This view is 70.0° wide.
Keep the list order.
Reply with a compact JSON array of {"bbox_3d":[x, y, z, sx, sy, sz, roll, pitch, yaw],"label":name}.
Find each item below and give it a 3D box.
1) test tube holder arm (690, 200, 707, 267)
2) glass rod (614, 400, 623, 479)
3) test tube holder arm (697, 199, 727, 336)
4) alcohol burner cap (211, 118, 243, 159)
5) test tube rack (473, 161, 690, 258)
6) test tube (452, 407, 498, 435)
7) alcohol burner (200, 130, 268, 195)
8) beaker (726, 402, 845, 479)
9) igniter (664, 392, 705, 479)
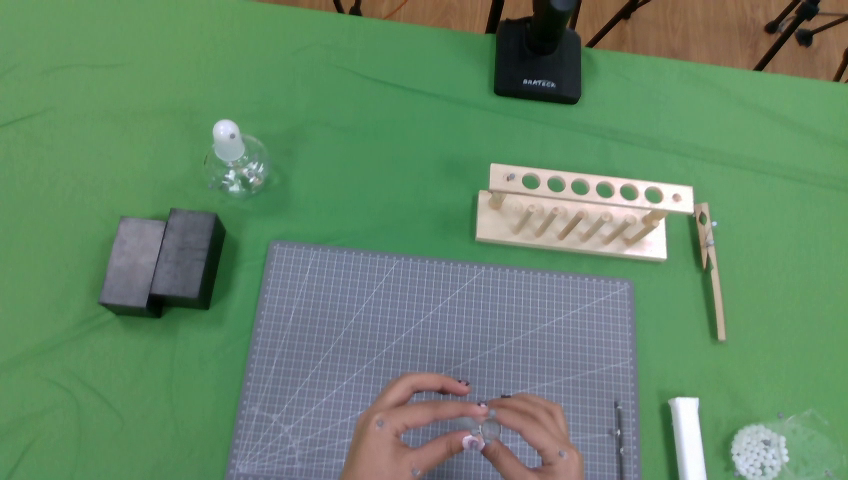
[{"bbox_3d":[0.357,-0.009,0.786,0.010,0.015,0.087,-12,69,27],"label":"test tube holder arm"},{"bbox_3d":[0.216,0.278,0.667,0.008,0.008,0.198,6,69,-5],"label":"glass rod"},{"bbox_3d":[0.364,0.033,0.769,0.013,0.015,0.177,-13,68,27],"label":"test tube holder arm"},{"bbox_3d":[-0.218,-0.115,0.668,0.034,0.048,0.033,5,64,-10],"label":"alcohol burner cap"},{"bbox_3d":[0.188,-0.035,0.739,0.243,0.085,0.066,6,69,-4],"label":"test tube rack"},{"bbox_3d":[0.041,0.154,0.521,0.017,0.150,0.017,1,77,-5],"label":"test tube"},{"bbox_3d":[-0.223,-0.101,0.701,0.078,0.120,0.077,2,68,-4],"label":"alcohol burner"},{"bbox_3d":[0.388,0.223,0.661,0.074,0.101,0.083,19,68,1],"label":"beaker"},{"bbox_3d":[0.295,0.306,0.659,0.057,0.025,0.274,6,70,-15],"label":"igniter"}]
